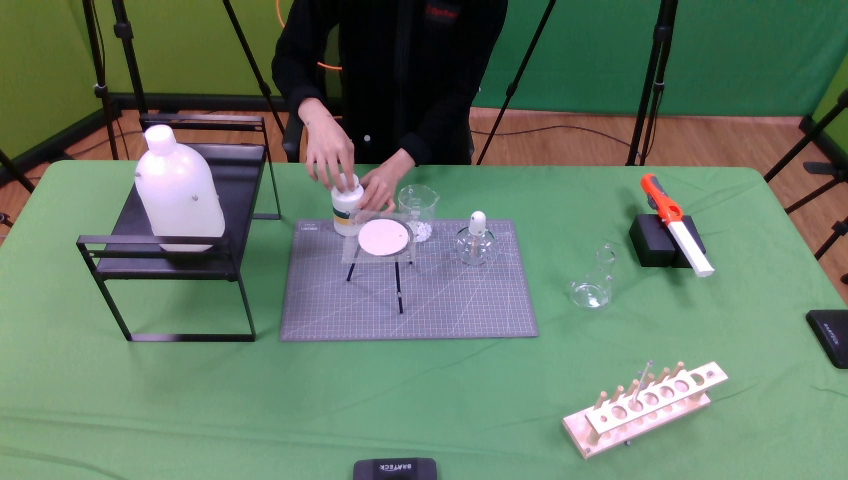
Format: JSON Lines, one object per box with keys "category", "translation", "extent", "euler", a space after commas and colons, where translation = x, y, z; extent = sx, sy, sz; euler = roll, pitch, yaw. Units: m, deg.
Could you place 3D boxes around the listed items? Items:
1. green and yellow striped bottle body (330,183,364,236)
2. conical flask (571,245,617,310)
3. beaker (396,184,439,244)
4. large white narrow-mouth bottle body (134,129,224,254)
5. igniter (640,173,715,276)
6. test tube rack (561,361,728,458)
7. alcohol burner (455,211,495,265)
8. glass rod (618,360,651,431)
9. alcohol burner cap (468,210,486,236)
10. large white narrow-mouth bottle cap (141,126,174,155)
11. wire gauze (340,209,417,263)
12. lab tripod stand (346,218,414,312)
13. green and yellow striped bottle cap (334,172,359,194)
{"category": "green and yellow striped bottle body", "translation": [-0.149, -0.070, 1.182], "extent": [0.063, 0.120, 0.063], "euler": [2, 46, -2]}
{"category": "conical flask", "translation": [0.313, 0.064, 1.089], "extent": [0.075, 0.122, 0.075], "euler": [2, 46, -2]}
{"category": "beaker", "translation": [-0.014, -0.049, 1.186], "extent": [0.084, 0.101, 0.073], "euler": [-8, 48, -13]}
{"category": "large white narrow-mouth bottle body", "translation": [-0.358, -0.075, 0.875], "extent": [0.102, 0.195, 0.101], "euler": [1, 48, -1]}
{"category": "igniter", "translation": [0.495, -0.039, 1.204], "extent": [0.057, 0.025, 0.274], "euler": [-2, 47, -12]}
{"category": "test tube rack", "translation": [0.341, 0.248, 0.940], "extent": [0.243, 0.085, 0.066], "euler": [-15, 49, -18]}
{"category": "alcohol burner", "translation": [0.097, -0.010, 1.147], "extent": [0.078, 0.120, 0.077], "euler": [1, 47, -1]}
{"category": "glass rod", "translation": [0.298, 0.227, 0.865], "extent": [0.008, 0.201, 0.008], "euler": [-1, 47, 2]}
{"category": "alcohol burner cap", "translation": [0.100, -0.034, 1.119], "extent": [0.034, 0.048, 0.033], "euler": [0, 53, 0]}
{"category": "large white narrow-mouth bottle cap", "translation": [-0.356, -0.133, 0.811], "extent": [0.038, 0.024, 0.037], "euler": [1, 48, -1]}
{"category": "wire gauze", "translation": [-0.074, -0.007, 1.023], "extent": [0.121, 0.011, 0.124], "euler": [3, 46, 0]}
{"category": "lab tripod stand", "translation": [-0.070, 0.037, 1.075], "extent": [0.148, 0.132, 0.147], "euler": [1, 48, -1]}
{"category": "green and yellow striped bottle cap", "translation": [-0.146, -0.108, 1.141], "extent": [0.045, 0.020, 0.045], "euler": [1, 46, -1]}
